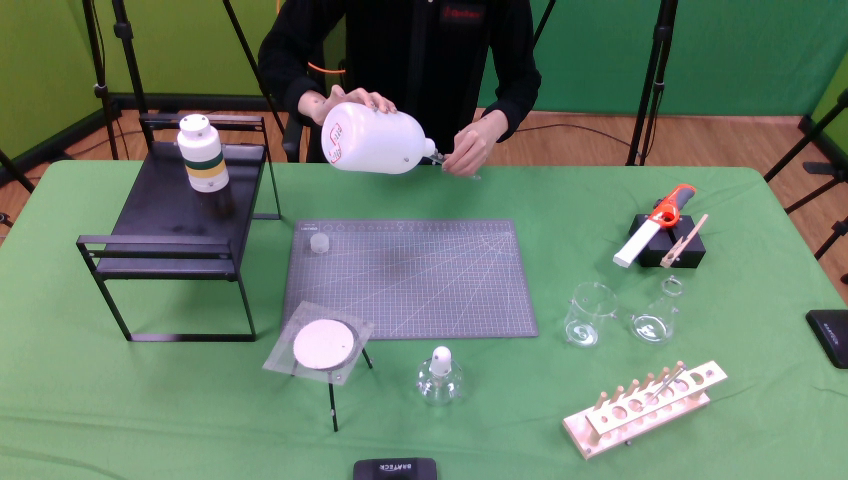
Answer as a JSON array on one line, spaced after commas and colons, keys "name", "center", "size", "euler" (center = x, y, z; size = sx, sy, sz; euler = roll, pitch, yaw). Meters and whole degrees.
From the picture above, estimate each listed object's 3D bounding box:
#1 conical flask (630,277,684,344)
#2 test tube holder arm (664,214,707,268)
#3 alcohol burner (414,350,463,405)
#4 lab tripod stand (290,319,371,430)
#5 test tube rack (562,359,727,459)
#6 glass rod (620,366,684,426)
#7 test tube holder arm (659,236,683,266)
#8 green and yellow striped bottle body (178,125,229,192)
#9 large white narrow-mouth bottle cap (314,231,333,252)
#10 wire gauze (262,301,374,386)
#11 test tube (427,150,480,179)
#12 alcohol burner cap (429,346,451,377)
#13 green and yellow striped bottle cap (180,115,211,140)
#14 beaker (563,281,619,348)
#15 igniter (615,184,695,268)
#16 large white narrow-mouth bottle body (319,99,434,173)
[{"name": "conical flask", "center": [0.408, 0.117, 1.045], "size": [0.075, 0.122, 0.075], "euler": [2, 46, -2]}, {"name": "test tube holder arm", "center": [0.507, -0.001, 1.171], "size": [0.013, 0.015, 0.178], "euler": [34, 54, 26]}, {"name": "alcohol burner", "center": [0.023, 0.205, 0.939], "size": [0.078, 0.120, 0.077], "euler": [1, 48, -1]}, {"name": "lab tripod stand", "center": [-0.146, 0.193, 0.923], "size": [0.148, 0.132, 0.147], "euler": [1, 47, -1]}, {"name": "test tube rack", "center": [0.341, 0.247, 0.940], "size": [0.243, 0.085, 0.066], "euler": [-16, 49, -18]}, {"name": "glass rod", "center": [0.323, 0.227, 0.866], "size": [0.008, 0.200, 0.008], "euler": [5, 51, -7]}, {"name": "test tube holder arm", "center": [0.472, 0.020, 1.149], "size": [0.010, 0.015, 0.088], "euler": [35, 54, 27]}, {"name": "green and yellow striped bottle body", "center": [-0.361, -0.142, 0.989], "size": [0.063, 0.120, 0.063], "euler": [2, 46, -2]}, {"name": "large white narrow-mouth bottle cap", "center": [-0.195, 0.003, 1.178], "size": [0.038, 0.024, 0.037], "euler": [2, 45, -2]}, {"name": "wire gauze", "center": [-0.150, 0.148, 0.873], "size": [0.121, 0.011, 0.124], "euler": [14, 46, 12]}, {"name": "test tube", "center": [0.054, -0.136, 1.093], "size": [0.151, 0.017, 0.017], "euler": [17, 29, -48]}, {"name": "alcohol burner cap", "center": [0.026, 0.180, 0.912], "size": [0.034, 0.048, 0.033], "euler": [1, 47, -1]}, {"name": "green and yellow striped bottle cap", "center": [-0.358, -0.177, 0.951], "size": [0.045, 0.020, 0.045], "euler": [2, 45, -2]}, {"name": "beaker", "center": [0.283, 0.129, 1.041], "size": [0.074, 0.101, 0.083], "euler": [11, 46, 6]}, {"name": "igniter", "center": [0.459, -0.035, 1.197], "size": [0.057, 0.025, 0.276], "euler": [33, 55, 27]}, {"name": "large white narrow-mouth bottle body", "center": [-0.062, -0.160, 0.970], "size": [0.195, 0.102, 0.101], "euler": [1, 39, -43]}]
